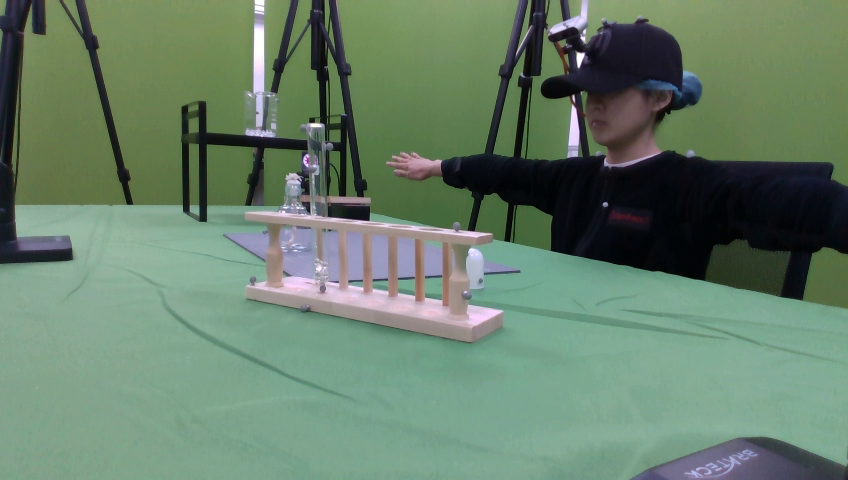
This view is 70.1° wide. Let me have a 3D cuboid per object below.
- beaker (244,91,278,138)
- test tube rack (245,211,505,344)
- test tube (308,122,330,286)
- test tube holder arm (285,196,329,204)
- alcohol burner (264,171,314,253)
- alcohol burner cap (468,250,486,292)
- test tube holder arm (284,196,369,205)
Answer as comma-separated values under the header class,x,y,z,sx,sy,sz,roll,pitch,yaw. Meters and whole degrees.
class,x,y,z,sx,sy,sz,roll,pitch,yaw
beaker,-0.367,-0.280,1.356,0.074,0.100,0.084,4,8,6
test tube rack,-0.049,0.025,0.547,0.241,0.085,0.067,7,8,29
test tube,-0.094,-0.030,0.542,0.017,0.150,0.017,1,17,0
test tube holder arm,-0.231,-0.079,1.192,0.088,0.015,0.010,0,5,-29
alcohol burner,-0.194,-0.042,0.888,0.078,0.119,0.078,3,5,0
alcohol burner cap,0.056,0.035,0.690,0.034,0.048,0.034,2,7,0
test tube holder arm,-0.194,-0.080,1.220,0.179,0.015,0.013,0,5,-31
